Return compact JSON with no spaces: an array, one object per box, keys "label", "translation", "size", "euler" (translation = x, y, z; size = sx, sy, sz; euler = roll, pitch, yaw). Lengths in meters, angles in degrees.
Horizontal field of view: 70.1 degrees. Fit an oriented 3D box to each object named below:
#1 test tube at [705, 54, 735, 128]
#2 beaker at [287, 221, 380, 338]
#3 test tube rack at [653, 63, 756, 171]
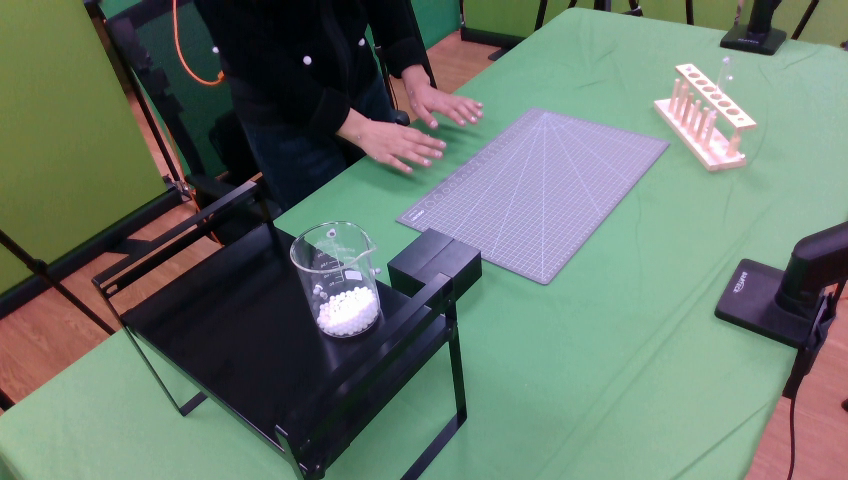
[{"label":"test tube","translation":[0.523,-0.260,1.073],"size":[0.017,0.151,0.017],"euler":[-3,47,4]},{"label":"beaker","translation":[-0.083,0.042,0.602],"size":[0.084,0.101,0.073],"euler":[-5,41,3]},{"label":"test tube rack","translation":[0.510,-0.233,1.120],"size":[0.067,0.085,0.241],"euler":[-9,41,-1]}]
